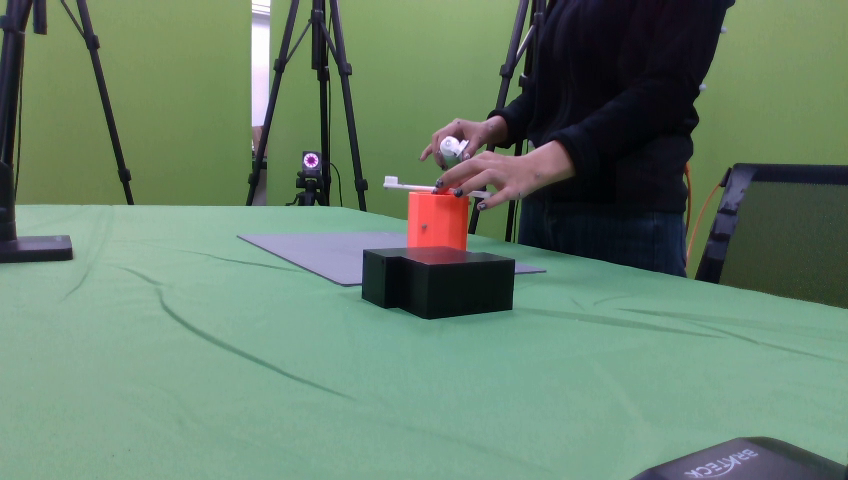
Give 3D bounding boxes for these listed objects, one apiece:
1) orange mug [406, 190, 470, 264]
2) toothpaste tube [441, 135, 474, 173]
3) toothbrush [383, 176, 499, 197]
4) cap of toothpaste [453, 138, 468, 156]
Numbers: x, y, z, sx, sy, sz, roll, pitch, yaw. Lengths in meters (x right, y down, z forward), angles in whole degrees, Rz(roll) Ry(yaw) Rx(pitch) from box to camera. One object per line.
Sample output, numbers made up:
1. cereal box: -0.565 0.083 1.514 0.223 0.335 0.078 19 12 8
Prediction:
1. orange mug: 0.027 -0.023 0.866 0.083 0.101 0.126 6 12 24
2. toothpaste tube: 0.058 -0.153 1.115 0.055 0.034 0.165 13 -9 12
3. toothbrush: 0.020 -0.075 0.843 0.181 0.016 0.014 9 7 29
4. cap of toothpaste: 0.061 -0.159 1.024 0.011 0.037 0.037 38 4 -6
